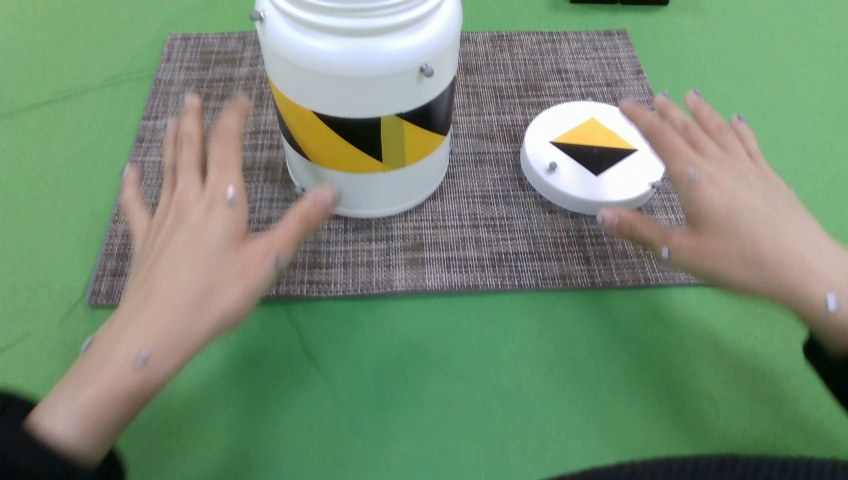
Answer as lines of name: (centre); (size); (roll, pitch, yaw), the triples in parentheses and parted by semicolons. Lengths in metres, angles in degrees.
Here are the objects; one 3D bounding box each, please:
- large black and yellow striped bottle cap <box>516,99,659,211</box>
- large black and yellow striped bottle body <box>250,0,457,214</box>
large black and yellow striped bottle cap: (0.134, -0.073, 0.498); (0.115, 0.019, 0.114); (2, 53, -2)
large black and yellow striped bottle body: (-0.045, -0.121, 0.419); (0.131, 0.185, 0.129); (1, 54, -2)
